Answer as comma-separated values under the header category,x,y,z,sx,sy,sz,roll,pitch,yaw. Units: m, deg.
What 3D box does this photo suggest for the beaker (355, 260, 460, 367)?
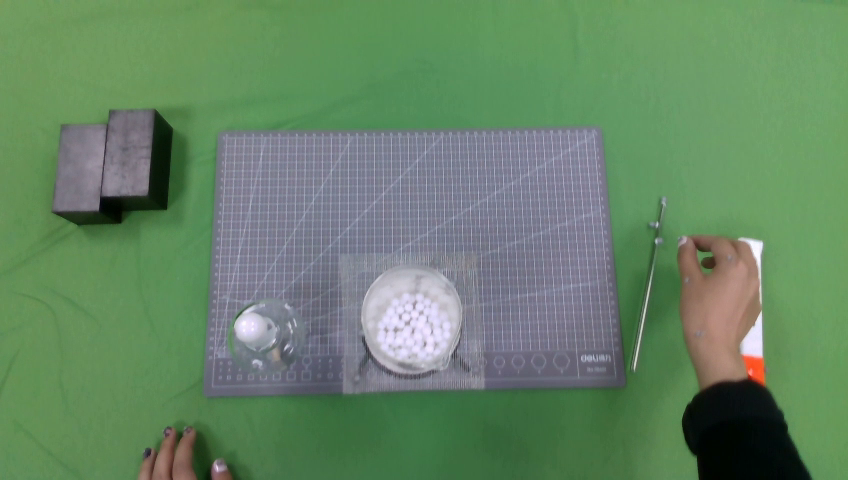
category,x,y,z,sx,sy,sz,roll,pitch,yaw
beaker,-0.009,0.066,0.484,0.074,0.100,0.083,-33,78,-8

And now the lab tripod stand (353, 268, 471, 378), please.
category,x,y,z,sx,sy,sz,roll,pitch,yaw
lab tripod stand,-0.015,0.087,0.596,0.148,0.132,0.147,0,76,1

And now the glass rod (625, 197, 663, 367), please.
category,x,y,z,sx,sy,sz,roll,pitch,yaw
glass rod,0.247,0.044,0.680,0.008,0.008,0.199,15,77,2

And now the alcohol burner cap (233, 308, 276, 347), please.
category,x,y,z,sx,sy,sz,roll,pitch,yaw
alcohol burner cap,-0.161,0.081,0.567,0.034,0.048,0.033,0,72,1

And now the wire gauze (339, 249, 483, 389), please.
category,x,y,z,sx,sy,sz,roll,pitch,yaw
wire gauze,-0.013,0.068,0.533,0.125,0.011,0.121,-2,75,0

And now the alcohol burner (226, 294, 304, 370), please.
category,x,y,z,sx,sy,sz,roll,pitch,yaw
alcohol burner,-0.162,0.089,0.602,0.078,0.119,0.077,0,74,-1

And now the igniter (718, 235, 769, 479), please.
category,x,y,z,sx,sy,sz,roll,pitch,yaw
igniter,0.343,0.130,0.652,0.057,0.025,0.275,9,77,-11
